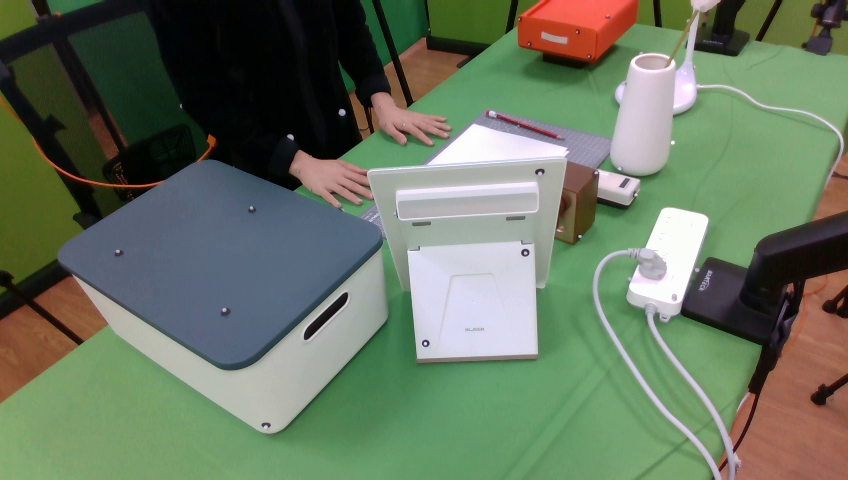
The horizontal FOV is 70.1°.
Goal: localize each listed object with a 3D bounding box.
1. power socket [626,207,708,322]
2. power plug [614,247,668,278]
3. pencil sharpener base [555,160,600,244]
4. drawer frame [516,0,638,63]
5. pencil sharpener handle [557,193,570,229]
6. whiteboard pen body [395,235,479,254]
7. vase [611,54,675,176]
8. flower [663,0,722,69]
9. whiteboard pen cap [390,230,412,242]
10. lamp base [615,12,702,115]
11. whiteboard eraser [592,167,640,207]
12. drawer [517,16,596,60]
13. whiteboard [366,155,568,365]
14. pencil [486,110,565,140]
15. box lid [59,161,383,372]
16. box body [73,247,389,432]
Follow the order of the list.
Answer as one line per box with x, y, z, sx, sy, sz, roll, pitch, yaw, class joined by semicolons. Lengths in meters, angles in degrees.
0.359;0.026;0.886;0.072;0.033;0.227;16;46;26;power socket
0.306;0.031;0.851;0.072;0.053;0.035;24;49;33;power plug
0.228;-0.057;0.945;0.061;0.107;0.077;24;50;31;pencil sharpener base
0.355;-0.508;1.411;0.200;0.083;0.214;23;51;32;drawer frame
0.195;-0.038;0.908;0.035;0.068;0.031;24;50;30;pencil sharpener handle
0.019;0.005;0.963;0.140;0.017;0.017;9;43;17;whiteboard pen body
0.377;-0.209;1.031;0.098;0.201;0.097;-3;40;3;vase
0.379;-0.261;0.965;0.044;0.362;0.038;21;53;5;flower
-0.036;-0.006;0.980;0.033;0.018;0.018;9;43;17;whiteboard pen cap
0.484;-0.363;1.211;0.180;0.181;0.159;-15;41;-14;lamp base
0.303;-0.091;1.024;0.112;0.042;0.056;21;49;28;whiteboard eraser
0.352;-0.506;1.405;0.193;0.073;0.212;23;49;32;drawer
0.059;0.050;0.738;0.217;0.307;0.143;-3;60;5;whiteboard
0.204;-0.233;1.226;0.192;0.012;0.012;29;52;33;pencil
-0.262;0.010;0.777;0.369;0.015;0.264;21;48;29;box lid
-0.255;0.065;0.827;0.361;0.161;0.255;21;48;29;box body
